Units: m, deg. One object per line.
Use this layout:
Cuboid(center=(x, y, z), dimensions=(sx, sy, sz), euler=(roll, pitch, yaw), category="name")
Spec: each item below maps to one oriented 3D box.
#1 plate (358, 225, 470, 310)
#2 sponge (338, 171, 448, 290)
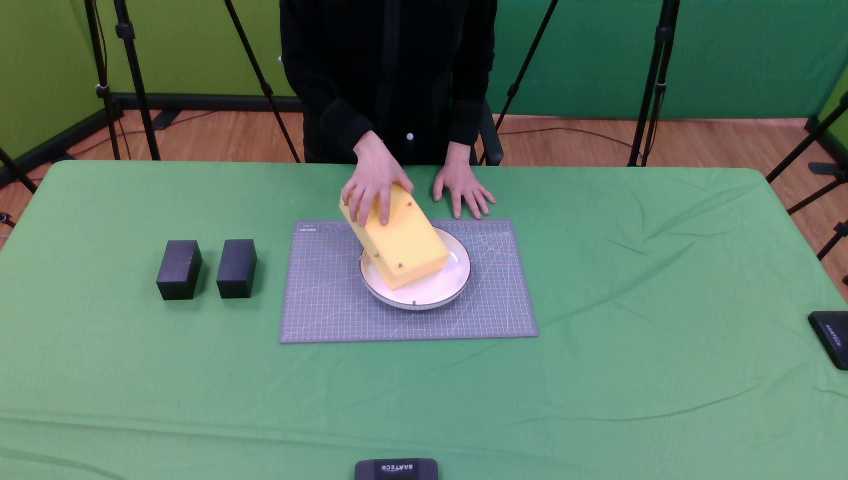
Cuboid(center=(-0.019, 0.052, 1.132), dimensions=(0.209, 0.038, 0.208), euler=(2, 46, -2), category="plate")
Cuboid(center=(-0.061, -0.021, 1.138), dimensions=(0.118, 0.061, 0.206), euler=(-24, 67, -24), category="sponge")
